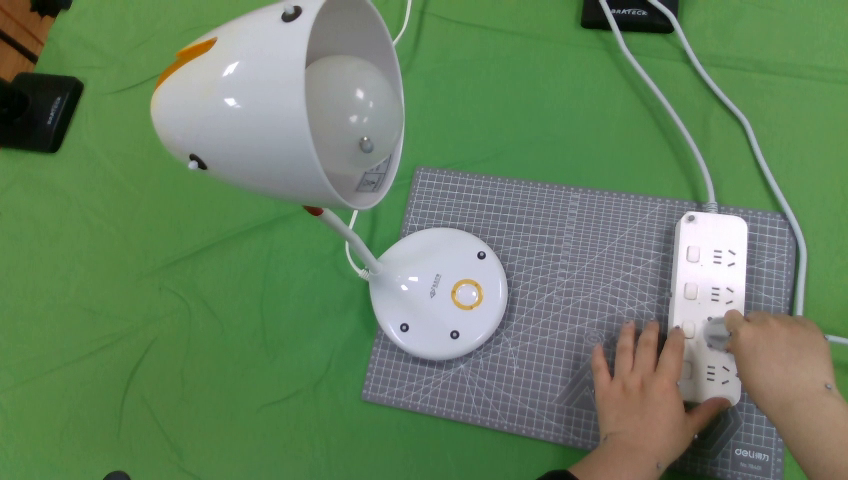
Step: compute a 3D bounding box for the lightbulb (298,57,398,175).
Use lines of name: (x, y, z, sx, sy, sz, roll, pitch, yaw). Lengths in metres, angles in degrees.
lightbulb: (-0.065, -0.067, 0.322, 0.107, 0.060, 0.059, 9, 74, 21)

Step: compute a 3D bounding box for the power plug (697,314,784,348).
power plug: (0.320, 0.101, 0.624, 0.072, 0.053, 0.035, 25, 77, 12)

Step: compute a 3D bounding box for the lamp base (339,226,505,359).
lamp base: (-0.011, 0.035, 0.641, 0.179, 0.181, 0.159, 2, 72, 14)

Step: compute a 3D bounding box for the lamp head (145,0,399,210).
lamp head: (-0.085, -0.070, 0.338, 0.122, 0.113, 0.112, -1, 71, 26)

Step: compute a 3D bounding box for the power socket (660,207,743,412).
power socket: (0.302, 0.070, 0.656, 0.072, 0.033, 0.225, 7, 74, 11)
